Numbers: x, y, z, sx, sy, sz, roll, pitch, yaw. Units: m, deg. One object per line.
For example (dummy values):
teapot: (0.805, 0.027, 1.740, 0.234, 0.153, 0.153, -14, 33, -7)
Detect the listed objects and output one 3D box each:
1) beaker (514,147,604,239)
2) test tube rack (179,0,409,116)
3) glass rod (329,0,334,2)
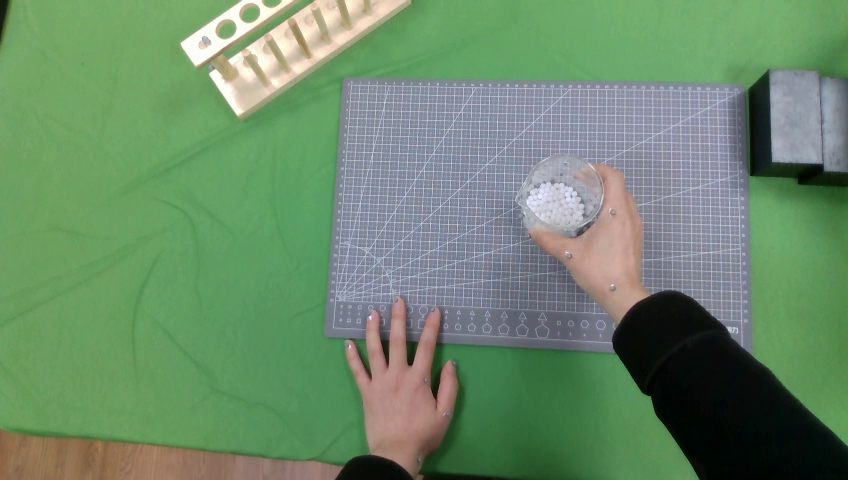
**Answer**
beaker: (0.131, -0.042, 0.613, 0.084, 0.100, 0.073, -9, 80, 4)
test tube rack: (-0.137, -0.246, 0.673, 0.242, 0.085, 0.066, -35, 80, -2)
glass rod: (-0.121, -0.288, 0.611, 0.008, 0.200, 0.008, 0, 86, 8)
